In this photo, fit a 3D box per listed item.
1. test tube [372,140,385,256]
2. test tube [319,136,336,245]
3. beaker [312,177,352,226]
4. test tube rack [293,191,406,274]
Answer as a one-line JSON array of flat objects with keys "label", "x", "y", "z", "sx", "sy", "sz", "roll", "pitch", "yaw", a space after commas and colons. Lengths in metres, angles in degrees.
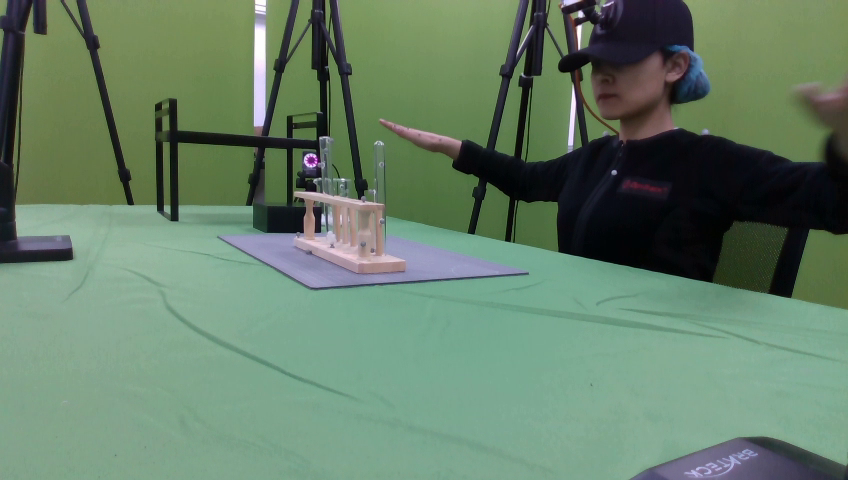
[{"label": "test tube", "x": -0.058, "y": -0.053, "z": 0.781, "sx": 0.017, "sy": 0.150, "sz": 0.017, "roll": 0, "pitch": 5, "yaw": 0}, {"label": "test tube", "x": -0.134, "y": -0.068, "z": 0.837, "sx": 0.017, "sy": 0.150, "sz": 0.017, "roll": -3, "pitch": 4, "yaw": 0}, {"label": "beaker", "x": -0.194, "y": -0.081, "z": 1.266, "sx": 0.084, "sy": 0.100, "sz": 0.073, "roll": -3, "pitch": 9, "yaw": -29}, {"label": "test tube rack", "x": -0.110, "y": -0.017, "z": 0.836, "sx": 0.067, "sy": 0.085, "sz": 0.241, "roll": -2, "pitch": 9, "yaw": -30}]
